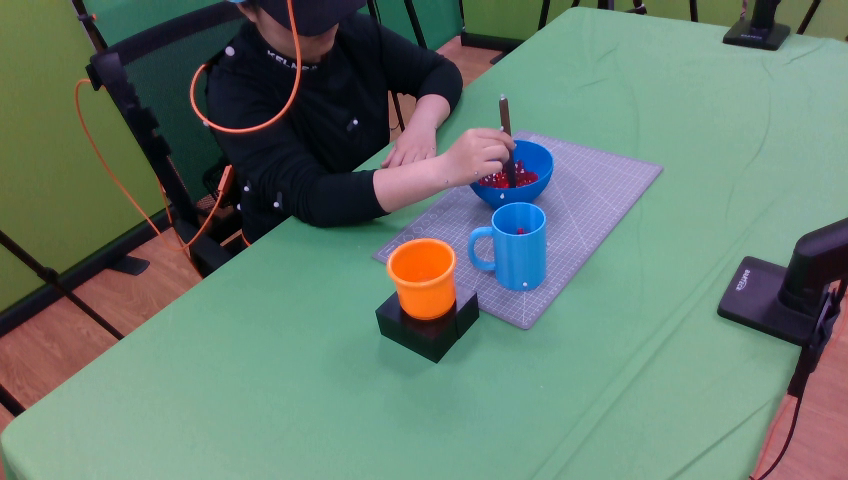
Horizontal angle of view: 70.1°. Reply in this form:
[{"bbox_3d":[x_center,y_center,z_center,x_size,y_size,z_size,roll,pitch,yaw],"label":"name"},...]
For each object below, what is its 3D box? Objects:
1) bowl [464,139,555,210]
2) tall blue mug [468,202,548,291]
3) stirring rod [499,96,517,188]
[{"bbox_3d":[0.145,-0.100,1.025,0.151,0.077,0.150,-5,40,5],"label":"bowl"},{"bbox_3d":[0.125,0.015,0.869,0.107,0.108,0.077,-21,42,-14],"label":"tall blue mug"},{"bbox_3d":[0.133,-0.147,0.954,0.014,0.177,0.005,-23,41,-11],"label":"stirring rod"}]
